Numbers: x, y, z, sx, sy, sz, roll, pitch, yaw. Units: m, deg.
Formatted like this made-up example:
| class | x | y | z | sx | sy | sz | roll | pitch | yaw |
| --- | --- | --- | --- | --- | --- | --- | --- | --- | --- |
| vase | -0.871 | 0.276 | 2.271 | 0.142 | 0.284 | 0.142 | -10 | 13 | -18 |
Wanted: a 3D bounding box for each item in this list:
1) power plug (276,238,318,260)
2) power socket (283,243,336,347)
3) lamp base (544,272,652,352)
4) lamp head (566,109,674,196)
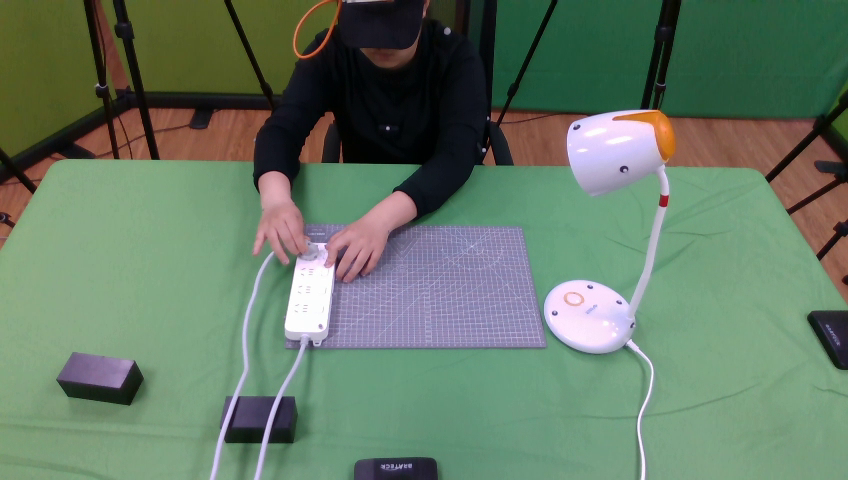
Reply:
| class | x | y | z | sx | sy | sz | roll | pitch | yaw |
| --- | --- | --- | --- | --- | --- | --- | --- | --- | --- |
| power plug | -0.231 | 0.015 | 1.118 | 0.072 | 0.053 | 0.035 | 14 | 47 | 4 |
| power socket | -0.202 | 0.088 | 1.085 | 0.072 | 0.033 | 0.225 | 2 | 46 | -3 |
| lamp base | 0.309 | 0.086 | 1.029 | 0.178 | 0.181 | 0.160 | 32 | 52 | 21 |
| lamp head | 0.272 | -0.123 | 0.818 | 0.122 | 0.113 | 0.112 | -9 | 35 | 37 |
